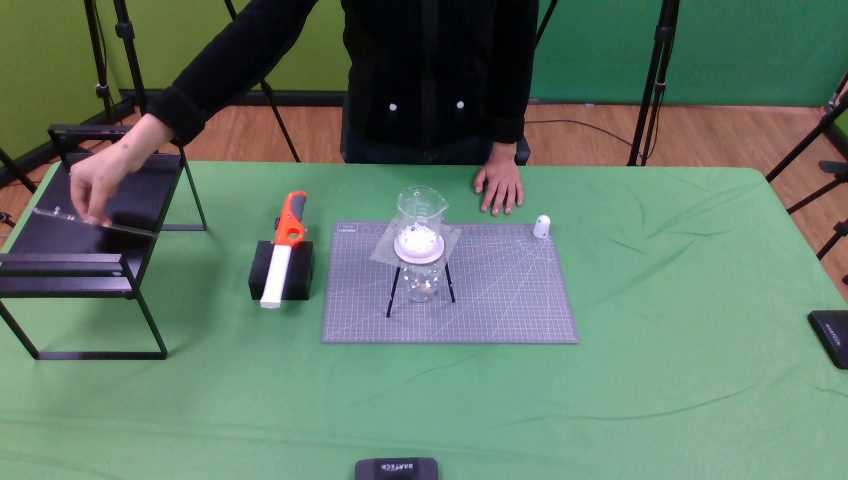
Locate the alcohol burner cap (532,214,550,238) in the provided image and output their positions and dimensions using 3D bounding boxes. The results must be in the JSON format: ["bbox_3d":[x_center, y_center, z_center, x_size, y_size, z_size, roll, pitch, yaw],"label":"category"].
[{"bbox_3d":[0.240,-0.030,1.229,0.034,0.048,0.033,2,46,-1],"label":"alcohol burner cap"}]

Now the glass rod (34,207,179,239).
[{"bbox_3d":[-0.471,-0.025,0.904,0.200,0.008,0.008,12,44,-15],"label":"glass rod"}]

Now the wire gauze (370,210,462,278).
[{"bbox_3d":[-0.012,0.007,1.019,0.121,0.011,0.124,16,51,13],"label":"wire gauze"}]

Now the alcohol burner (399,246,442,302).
[{"bbox_3d":[-0.006,0.055,1.078,0.078,0.119,0.077,3,44,-3],"label":"alcohol burner"}]

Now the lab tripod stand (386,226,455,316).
[{"bbox_3d":[-0.013,0.054,1.064,0.148,0.132,0.147,2,48,-2],"label":"lab tripod stand"}]

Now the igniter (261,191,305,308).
[{"bbox_3d":[-0.255,0.007,1.104,0.057,0.025,0.275,5,47,-4],"label":"igniter"}]

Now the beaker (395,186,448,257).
[{"bbox_3d":[-0.007,-0.027,0.984,0.084,0.101,0.073,1,48,-4],"label":"beaker"}]
